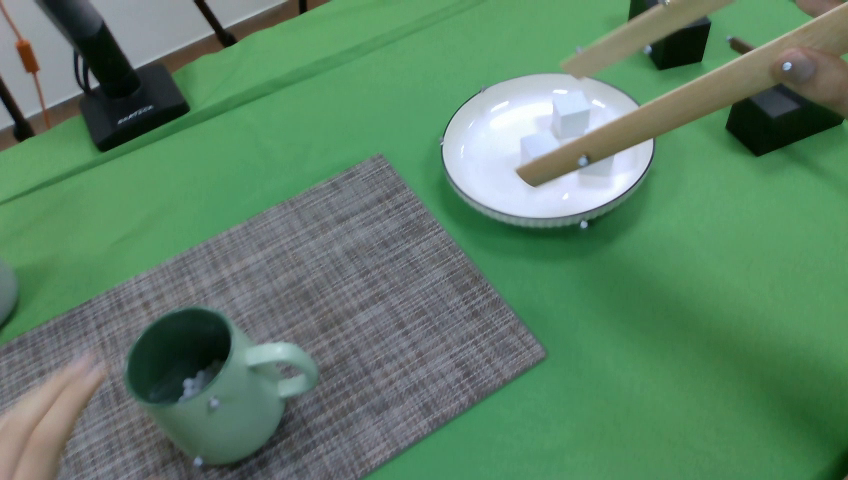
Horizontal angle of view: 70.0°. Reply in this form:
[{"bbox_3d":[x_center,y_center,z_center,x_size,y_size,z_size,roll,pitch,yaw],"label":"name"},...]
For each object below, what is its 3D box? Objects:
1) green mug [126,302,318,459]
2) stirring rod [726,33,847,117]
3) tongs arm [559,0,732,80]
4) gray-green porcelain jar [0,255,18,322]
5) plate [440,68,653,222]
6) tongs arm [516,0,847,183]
[{"bbox_3d":[-0.144,0.104,0.459,0.125,0.106,0.091,-11,51,1],"label":"green mug"},{"bbox_3d":[0.350,-0.150,0.565,0.006,0.014,0.174,-26,52,-14],"label":"stirring rod"},{"bbox_3d":[0.203,-0.153,0.350,0.027,0.383,0.050,34,69,-18],"label":"tongs arm"},{"bbox_3d":[-0.458,0.032,0.558,0.106,0.128,0.105,-5,52,6],"label":"gray-green porcelain jar"},{"bbox_3d":[0.121,-0.095,0.613,0.207,0.039,0.205,-5,52,6],"label":"plate"},{"bbox_3d":[0.178,-0.101,0.329,0.028,0.387,0.028,37,61,-17],"label":"tongs arm"}]
